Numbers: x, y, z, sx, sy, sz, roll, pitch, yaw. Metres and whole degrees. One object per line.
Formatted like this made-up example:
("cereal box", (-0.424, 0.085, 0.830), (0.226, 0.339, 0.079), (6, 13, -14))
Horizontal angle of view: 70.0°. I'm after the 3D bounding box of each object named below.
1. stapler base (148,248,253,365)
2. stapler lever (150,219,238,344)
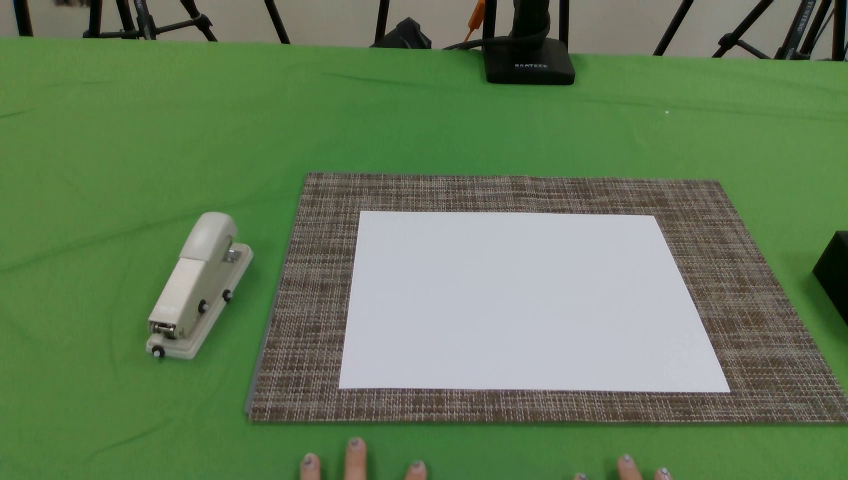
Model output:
("stapler base", (-0.188, 0.046, 0.515), (0.041, 0.024, 0.129), (7, 44, 7))
("stapler lever", (-0.187, 0.029, 0.497), (0.027, 0.040, 0.117), (7, 43, 8))
